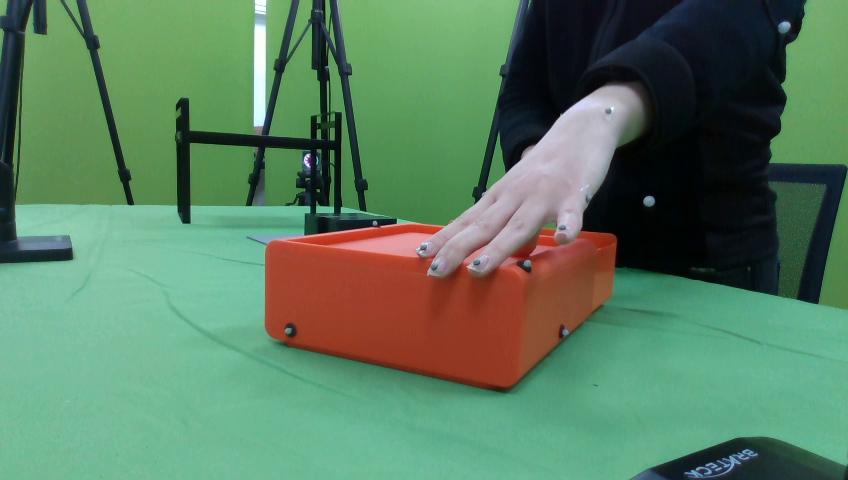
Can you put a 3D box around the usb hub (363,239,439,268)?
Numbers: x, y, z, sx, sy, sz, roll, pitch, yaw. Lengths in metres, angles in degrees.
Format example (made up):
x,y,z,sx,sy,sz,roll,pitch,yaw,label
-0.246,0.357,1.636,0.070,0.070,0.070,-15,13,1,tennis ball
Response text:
x,y,z,sx,sy,sz,roll,pitch,yaw,label
-0.028,0.017,0.828,0.049,0.025,0.126,5,7,29,usb hub

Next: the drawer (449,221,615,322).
x,y,z,sx,sy,sz,roll,pitch,yaw,label
0.062,0.030,0.578,0.194,0.073,0.213,7,9,28,drawer

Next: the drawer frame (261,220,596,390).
x,y,z,sx,sy,sz,roll,pitch,yaw,label
0.017,0.036,0.494,0.201,0.082,0.214,6,9,26,drawer frame
